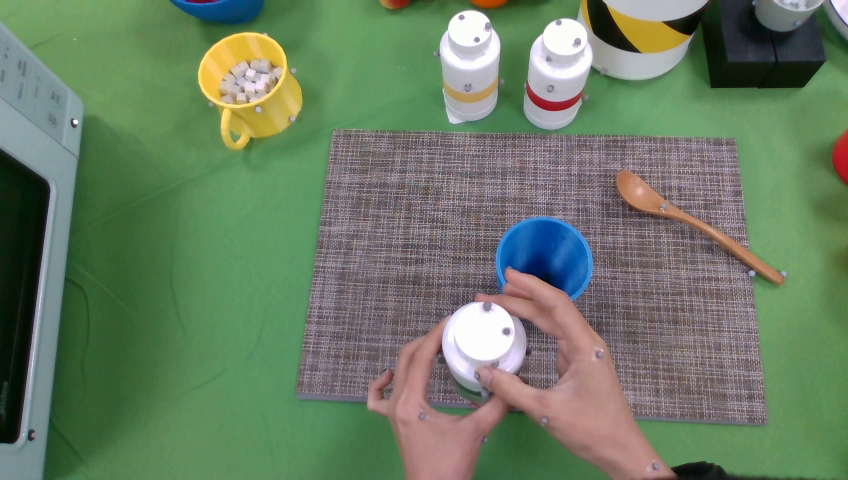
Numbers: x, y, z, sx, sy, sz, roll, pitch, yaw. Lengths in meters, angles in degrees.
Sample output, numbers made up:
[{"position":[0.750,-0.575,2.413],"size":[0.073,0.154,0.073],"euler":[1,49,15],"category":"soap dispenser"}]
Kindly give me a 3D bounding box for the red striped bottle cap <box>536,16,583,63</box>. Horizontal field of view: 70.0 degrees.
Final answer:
[{"position":[0.133,-0.197,0.592],"size":[0.044,0.018,0.044],"euler":[0,69,0],"category":"red striped bottle cap"}]

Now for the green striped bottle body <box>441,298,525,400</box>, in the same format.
[{"position":[0.046,0.085,0.475],"size":[0.063,0.120,0.062],"euler":[-2,66,5],"category":"green striped bottle body"}]

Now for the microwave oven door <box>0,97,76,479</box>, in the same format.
[{"position":[-0.405,0.028,0.523],"size":[0.039,0.245,0.353],"euler":[-7,70,2],"category":"microwave oven door"}]

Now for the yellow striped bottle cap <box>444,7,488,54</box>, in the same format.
[{"position":[0.042,-0.209,0.604],"size":[0.044,0.019,0.044],"euler":[-1,72,3],"category":"yellow striped bottle cap"}]

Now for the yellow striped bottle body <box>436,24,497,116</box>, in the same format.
[{"position":[0.046,-0.191,0.652],"size":[0.063,0.121,0.062],"euler":[-2,70,5],"category":"yellow striped bottle body"}]

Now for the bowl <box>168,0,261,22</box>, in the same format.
[{"position":[-0.249,-0.325,0.744],"size":[0.151,0.077,0.150],"euler":[-1,70,3],"category":"bowl"}]

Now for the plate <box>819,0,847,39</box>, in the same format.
[{"position":[0.553,-0.284,0.693],"size":[0.209,0.038,0.207],"euler":[-1,71,4],"category":"plate"}]

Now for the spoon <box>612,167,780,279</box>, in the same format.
[{"position":[0.277,-0.017,0.621],"size":[0.193,0.022,0.041],"euler":[33,51,14],"category":"spoon"}]

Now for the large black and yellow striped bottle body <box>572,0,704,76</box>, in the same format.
[{"position":[0.232,-0.276,0.636],"size":[0.131,0.185,0.130],"euler":[-1,70,4],"category":"large black and yellow striped bottle body"}]

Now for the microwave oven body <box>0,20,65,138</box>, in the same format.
[{"position":[-0.553,0.007,0.546],"size":[0.326,0.262,0.438],"euler":[-7,70,1],"category":"microwave oven body"}]

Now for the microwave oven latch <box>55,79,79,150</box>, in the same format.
[{"position":[-0.417,-0.142,0.692],"size":[0.030,0.030,0.078],"euler":[-5,71,2],"category":"microwave oven latch"}]

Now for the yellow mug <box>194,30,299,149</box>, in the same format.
[{"position":[-0.205,-0.165,0.690],"size":[0.100,0.064,0.130],"euler":[12,72,7],"category":"yellow mug"}]

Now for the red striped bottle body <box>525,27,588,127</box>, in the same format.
[{"position":[0.139,-0.177,0.641],"size":[0.063,0.120,0.062],"euler":[-3,67,8],"category":"red striped bottle body"}]

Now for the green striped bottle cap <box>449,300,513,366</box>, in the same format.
[{"position":[0.040,0.065,0.425],"size":[0.044,0.020,0.044],"euler":[1,61,-1],"category":"green striped bottle cap"}]

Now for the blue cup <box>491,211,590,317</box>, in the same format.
[{"position":[0.104,0.032,0.573],"size":[0.092,0.101,0.092],"euler":[-1,69,3],"category":"blue cup"}]

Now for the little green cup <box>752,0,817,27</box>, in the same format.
[{"position":[0.382,-0.259,0.642],"size":[0.061,0.039,0.061],"euler":[-1,69,3],"category":"little green cup"}]
